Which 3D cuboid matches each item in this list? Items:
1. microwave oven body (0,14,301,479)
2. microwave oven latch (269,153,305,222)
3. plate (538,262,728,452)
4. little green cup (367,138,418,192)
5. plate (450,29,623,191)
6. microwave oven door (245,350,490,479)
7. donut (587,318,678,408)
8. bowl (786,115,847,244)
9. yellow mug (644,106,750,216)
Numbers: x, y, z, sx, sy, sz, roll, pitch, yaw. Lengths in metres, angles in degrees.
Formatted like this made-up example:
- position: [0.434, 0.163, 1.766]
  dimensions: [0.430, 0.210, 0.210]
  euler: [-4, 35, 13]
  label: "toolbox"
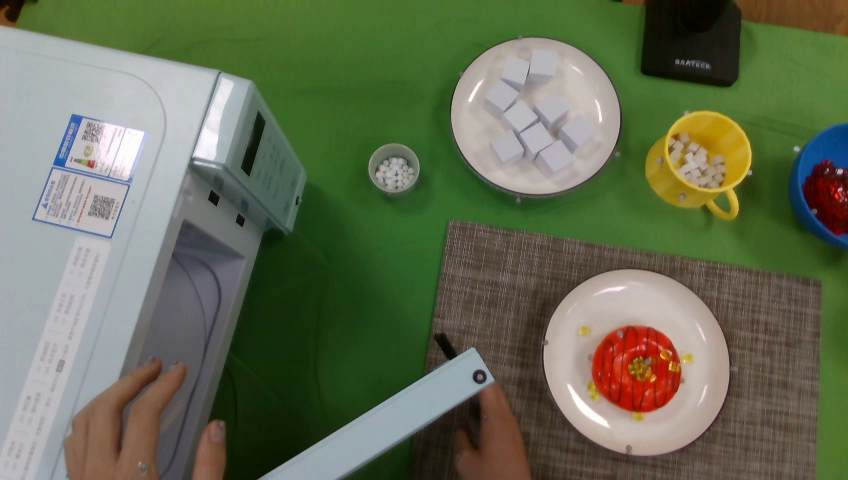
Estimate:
- position: [-0.346, 0.054, 0.584]
  dimensions: [0.326, 0.261, 0.440]
  euler: [13, 80, 2]
  label: "microwave oven body"
- position: [-0.162, -0.063, 0.706]
  dimensions: [0.030, 0.029, 0.079]
  euler: [15, 80, 3]
  label: "microwave oven latch"
- position: [0.231, 0.129, 0.684]
  dimensions: [0.209, 0.038, 0.208]
  euler: [0, 79, 0]
  label: "plate"
- position: [-0.037, -0.088, 0.728]
  dimensions: [0.061, 0.039, 0.061]
  euler: [0, 80, 0]
  label: "little green cup"
- position: [0.135, -0.157, 0.745]
  dimensions: [0.208, 0.039, 0.206]
  euler: [0, 79, 0]
  label: "plate"
- position: [-0.106, 0.202, 0.550]
  dimensions: [0.356, 0.245, 0.039]
  euler: [-30, 79, -6]
  label: "microwave oven door"
- position: [0.230, 0.136, 0.671]
  dimensions: [0.099, 0.048, 0.098]
  euler: [0, 82, 2]
  label: "donut"
- position: [0.486, -0.061, 0.706]
  dimensions: [0.151, 0.077, 0.150]
  euler: [0, 79, 0]
  label: "bowl"
- position: [0.329, -0.087, 0.717]
  dimensions: [0.100, 0.064, 0.130]
  euler: [-27, 81, -5]
  label: "yellow mug"
